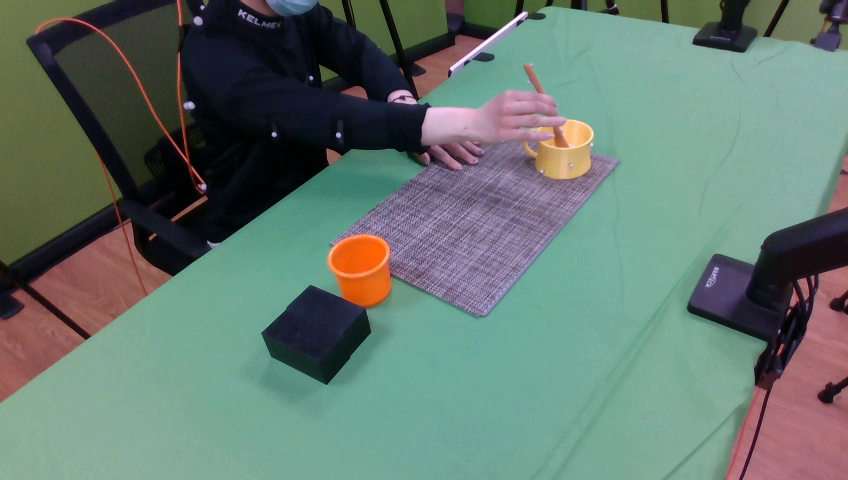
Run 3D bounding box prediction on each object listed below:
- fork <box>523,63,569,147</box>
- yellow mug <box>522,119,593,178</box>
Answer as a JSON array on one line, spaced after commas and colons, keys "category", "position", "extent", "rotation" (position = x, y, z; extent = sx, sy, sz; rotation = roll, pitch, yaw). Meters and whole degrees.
[{"category": "fork", "position": [0.211, -0.213, 1.023], "extent": [0.028, 0.209, 0.018], "rotation": [11, 54, 47]}, {"category": "yellow mug", "position": [0.237, -0.170, 1.092], "extent": [0.130, 0.064, 0.100], "rotation": [17, 46, 27]}]
